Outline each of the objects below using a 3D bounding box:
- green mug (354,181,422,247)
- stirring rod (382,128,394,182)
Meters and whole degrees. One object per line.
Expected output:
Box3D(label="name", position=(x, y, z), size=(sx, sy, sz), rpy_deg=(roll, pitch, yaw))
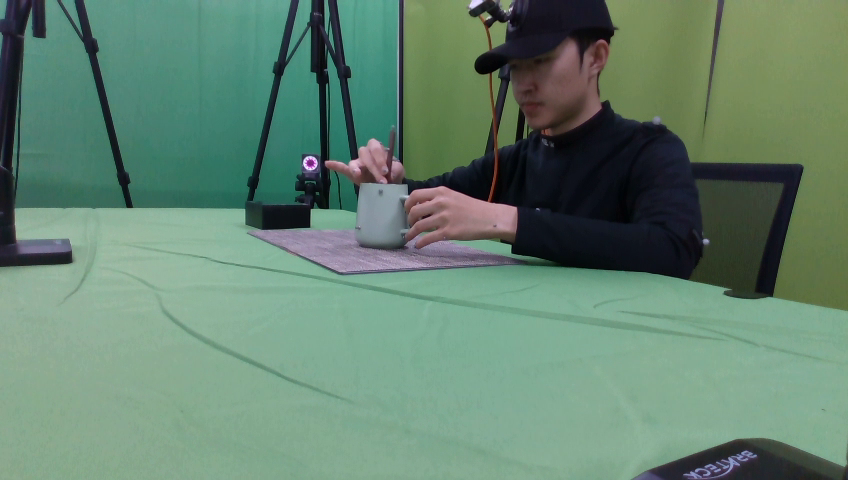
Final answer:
Box3D(label="green mug", position=(-0.055, -0.042, 0.988), size=(0.125, 0.105, 0.093), rpy_deg=(7, 8, 35))
Box3D(label="stirring rod", position=(-0.063, -0.092, 0.974), size=(0.006, 0.176, 0.014), rpy_deg=(3, 6, -37))
